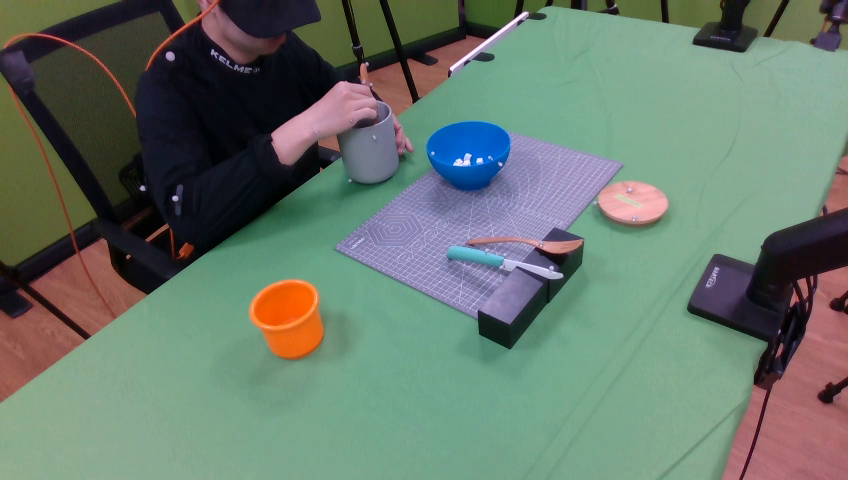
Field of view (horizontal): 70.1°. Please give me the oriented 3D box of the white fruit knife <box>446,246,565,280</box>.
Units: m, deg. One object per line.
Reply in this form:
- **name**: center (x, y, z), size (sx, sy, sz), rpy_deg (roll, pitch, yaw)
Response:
- **white fruit knife**: center (0.111, 0.033, 0.868), size (0.205, 0.027, 0.016), rpy_deg (11, 44, 40)

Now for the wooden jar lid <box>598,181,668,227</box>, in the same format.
- **wooden jar lid**: center (0.340, -0.057, 0.988), size (0.108, 0.021, 0.108), rpy_deg (-5, 41, 5)

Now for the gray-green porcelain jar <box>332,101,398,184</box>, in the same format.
- **gray-green porcelain jar**: center (-0.105, -0.174, 1.108), size (0.106, 0.127, 0.105), rpy_deg (-4, 40, 4)

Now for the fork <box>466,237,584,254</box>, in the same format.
- **fork**: center (0.142, 0.005, 0.894), size (0.205, 0.019, 0.028), rpy_deg (4, 43, 41)

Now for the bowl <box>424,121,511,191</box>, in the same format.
- **bowl**: center (0.080, -0.140, 1.074), size (0.151, 0.077, 0.150), rpy_deg (-4, 40, 4)
